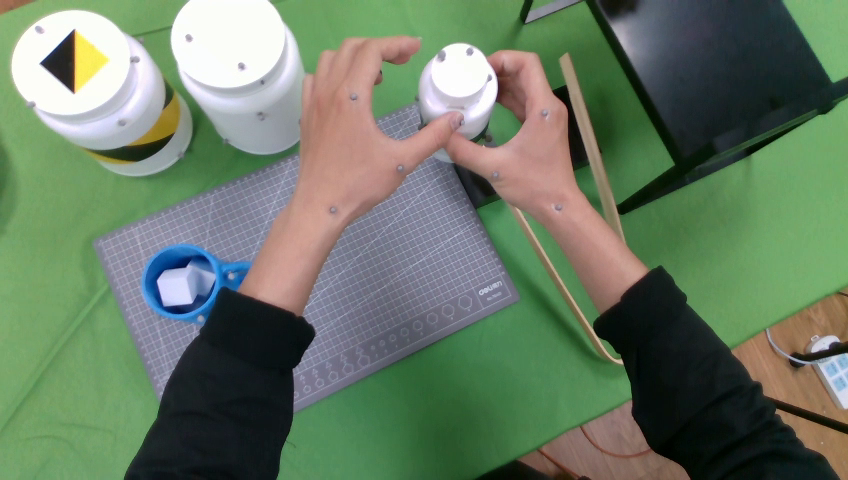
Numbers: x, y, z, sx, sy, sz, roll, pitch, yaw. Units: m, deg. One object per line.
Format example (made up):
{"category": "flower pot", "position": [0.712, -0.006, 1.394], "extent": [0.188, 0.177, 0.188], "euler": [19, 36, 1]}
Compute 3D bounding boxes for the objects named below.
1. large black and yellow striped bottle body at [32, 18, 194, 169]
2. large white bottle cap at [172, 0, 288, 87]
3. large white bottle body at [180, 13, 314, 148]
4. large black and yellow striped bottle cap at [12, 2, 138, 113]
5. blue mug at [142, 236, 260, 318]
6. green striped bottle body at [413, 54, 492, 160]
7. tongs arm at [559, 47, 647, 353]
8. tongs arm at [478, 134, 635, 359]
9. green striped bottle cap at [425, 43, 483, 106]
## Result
{"category": "large black and yellow striped bottle body", "position": [-0.355, -0.167, 0.691], "extent": [0.131, 0.184, 0.130], "euler": [1, 79, -4]}
{"category": "large white bottle cap", "position": [-0.199, -0.214, 0.625], "extent": [0.115, 0.018, 0.114], "euler": [1, 79, -4]}
{"category": "large white bottle body", "position": [-0.204, -0.197, 0.708], "extent": [0.131, 0.185, 0.130], "euler": [1, 79, -4]}
{"category": "large black and yellow striped bottle cap", "position": [-0.351, -0.185, 0.610], "extent": [0.115, 0.019, 0.114], "euler": [1, 80, -6]}
{"category": "blue mug", "position": [-0.248, 0.041, 0.701], "extent": [0.116, 0.106, 0.082], "euler": [-17, 81, -7]}
{"category": "green striped bottle body", "position": [0.023, -0.116, 0.509], "extent": [0.063, 0.119, 0.063], "euler": [0, 78, 0]}
{"category": "tongs arm", "position": [0.222, -0.048, 0.756], "extent": [0.028, 0.027, 0.387], "euler": [-16, 93, -15]}
{"category": "tongs arm", "position": [0.149, -0.015, 0.742], "extent": [0.051, 0.026, 0.385], "euler": [-30, 95, -11]}
{"category": "green striped bottle cap", "position": [0.023, -0.125, 0.457], "extent": [0.044, 0.020, 0.044], "euler": [0, 80, 2]}
